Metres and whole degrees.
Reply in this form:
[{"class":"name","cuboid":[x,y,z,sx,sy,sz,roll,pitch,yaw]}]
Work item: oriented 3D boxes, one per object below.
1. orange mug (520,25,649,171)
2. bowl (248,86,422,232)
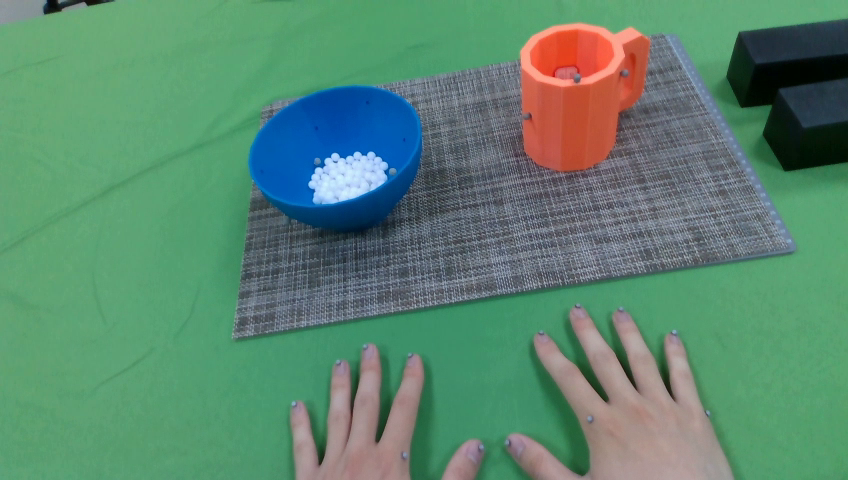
[{"class":"orange mug","cuboid":[0.145,-0.134,0.547,0.126,0.102,0.082,-30,52,-8]},{"class":"bowl","cuboid":[-0.070,-0.060,0.542,0.151,0.077,0.150,-6,51,7]}]
